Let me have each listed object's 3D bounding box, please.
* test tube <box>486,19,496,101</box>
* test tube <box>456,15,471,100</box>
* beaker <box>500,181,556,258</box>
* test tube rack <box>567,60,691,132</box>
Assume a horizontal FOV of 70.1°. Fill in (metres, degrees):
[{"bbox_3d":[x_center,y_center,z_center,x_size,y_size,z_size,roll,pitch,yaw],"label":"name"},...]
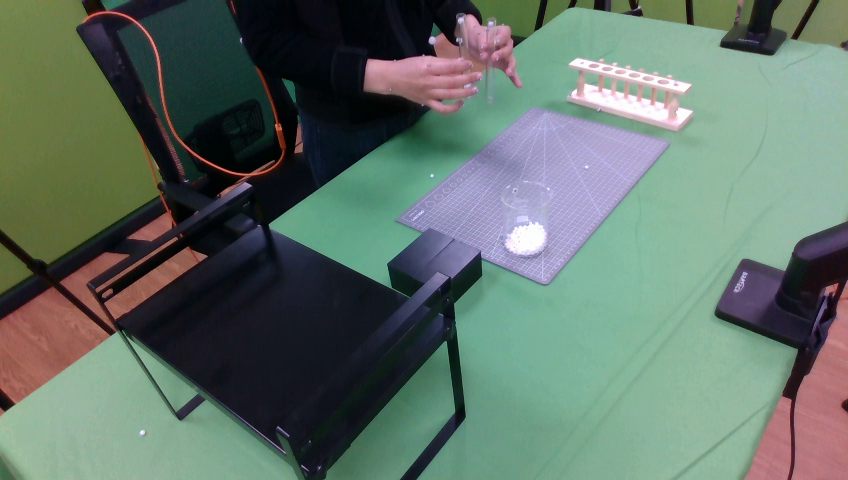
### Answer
[{"bbox_3d":[0.116,-0.309,1.051,0.017,0.151,0.017,-3,44,3],"label":"test tube"},{"bbox_3d":[0.066,-0.300,1.008,0.017,0.151,0.017,-5,44,5],"label":"test tube"},{"bbox_3d":[0.159,-0.030,0.922,0.084,0.100,0.073,-13,41,-8],"label":"beaker"},{"bbox_3d":[0.411,-0.299,1.217,0.240,0.085,0.067,26,51,34],"label":"test tube rack"}]
